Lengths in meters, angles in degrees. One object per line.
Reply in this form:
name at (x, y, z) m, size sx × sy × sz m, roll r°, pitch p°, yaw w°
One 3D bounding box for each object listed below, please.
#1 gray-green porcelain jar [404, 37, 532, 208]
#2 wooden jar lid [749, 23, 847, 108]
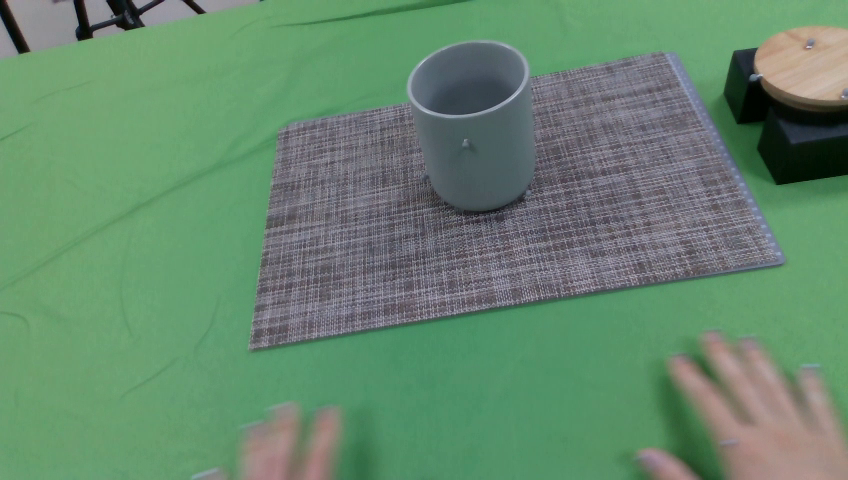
gray-green porcelain jar at (0.045, -0.101, 0.556) m, size 0.106 × 0.128 × 0.105 m, roll -6°, pitch 50°, yaw 8°
wooden jar lid at (0.347, -0.154, 0.538) m, size 0.108 × 0.021 × 0.107 m, roll -7°, pitch 52°, yaw 9°
